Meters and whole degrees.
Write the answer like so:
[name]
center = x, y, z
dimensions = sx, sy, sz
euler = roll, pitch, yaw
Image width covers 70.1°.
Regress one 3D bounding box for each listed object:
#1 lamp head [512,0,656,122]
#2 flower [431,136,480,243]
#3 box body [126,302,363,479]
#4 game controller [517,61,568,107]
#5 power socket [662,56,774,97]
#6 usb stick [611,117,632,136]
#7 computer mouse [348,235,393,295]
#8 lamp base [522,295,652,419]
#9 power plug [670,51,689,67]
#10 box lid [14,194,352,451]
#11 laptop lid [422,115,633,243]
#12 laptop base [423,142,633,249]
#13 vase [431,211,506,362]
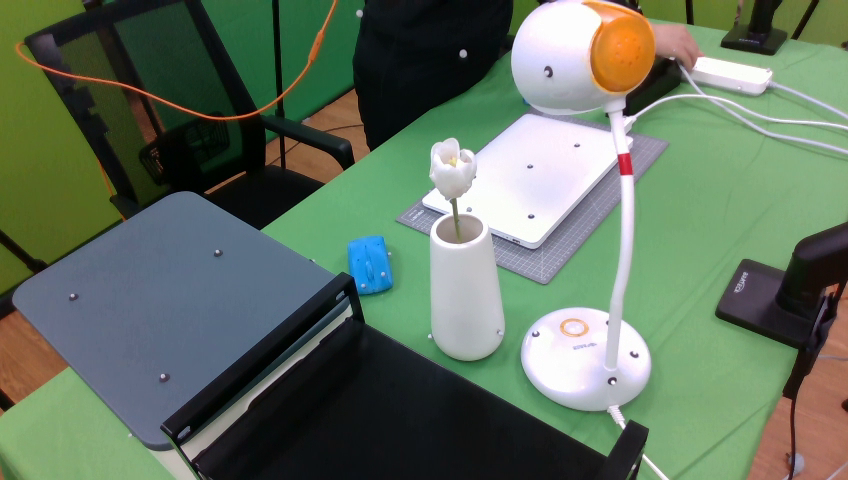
[lamp head]
center = 0.156, -0.168, 0.563
dimensions = 0.113, 0.113, 0.122
euler = -18, 23, -12
[flower]
center = 0.042, 0.011, 0.691
dimensions = 0.044, 0.363, 0.038
euler = 16, 62, 14
[box body]
center = -0.284, 0.123, 0.766
dimensions = 0.361, 0.161, 0.255
euler = 25, 49, 33
[game controller]
center = 0.261, -0.352, 1.335
dimensions = 0.097, 0.052, 0.154
euler = -3, 41, 2
[power socket]
center = 0.620, -0.352, 1.288
dimensions = 0.225, 0.033, 0.072
euler = 26, 51, 33
[usb stick]
center = 0.372, -0.207, 1.148
dimensions = 0.021, 0.027, 0.059
euler = 28, 58, 31
[computer mouse]
center = -0.085, 0.035, 0.936
dimensions = 0.063, 0.041, 0.116
euler = -8, 45, -5
[lamp base]
center = 0.201, 0.095, 0.710
dimensions = 0.161, 0.181, 0.177
euler = -16, 43, -10
[power plug]
center = 0.541, -0.378, 1.303
dimensions = 0.073, 0.053, 0.035
euler = -30, 47, -20
[box lid]
center = -0.291, 0.067, 0.717
dimensions = 0.368, 0.015, 0.264
euler = 25, 50, 33
[laptop lid]
center = 0.191, -0.126, 1.081
dimensions = 0.239, 0.013, 0.358
euler = 23, 49, 35
[laptop base]
center = 0.194, -0.117, 1.087
dimensions = 0.233, 0.023, 0.355
euler = 21, 48, 34
[vase]
center = 0.054, 0.062, 0.757
dimensions = 0.098, 0.201, 0.097
euler = -3, 40, 3
